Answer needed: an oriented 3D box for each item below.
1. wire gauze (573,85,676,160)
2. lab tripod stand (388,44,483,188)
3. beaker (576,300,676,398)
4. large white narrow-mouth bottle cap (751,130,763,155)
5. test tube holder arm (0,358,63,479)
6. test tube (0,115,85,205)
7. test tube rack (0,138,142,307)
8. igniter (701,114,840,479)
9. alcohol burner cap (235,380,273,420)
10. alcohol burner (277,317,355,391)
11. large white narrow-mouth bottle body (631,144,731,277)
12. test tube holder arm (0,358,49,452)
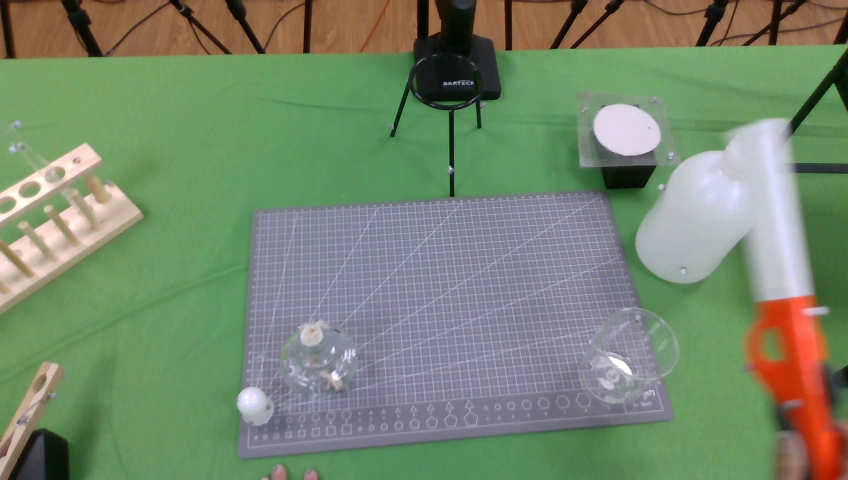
[{"bbox_3d":[0.253,-0.150,0.775,0.121,0.011,0.124,3,59,-1],"label":"wire gauze"},{"bbox_3d":[0.023,-0.159,0.754,0.148,0.132,0.147,2,61,-3],"label":"lab tripod stand"},{"bbox_3d":[0.198,0.116,0.619,0.084,0.101,0.073,2,59,-1],"label":"beaker"},{"bbox_3d":[0.307,-0.089,0.591,0.038,0.024,0.037,1,59,-2],"label":"large white narrow-mouth bottle cap"},{"bbox_3d":[-0.372,0.192,0.543,0.013,0.015,0.177,4,59,10],"label":"test tube holder arm"},{"bbox_3d":[-0.412,-0.081,0.657,0.017,0.151,0.017,-1,62,2],"label":"test tube"},{"bbox_3d":[-0.449,-0.003,0.667,0.066,0.086,0.242,41,66,19],"label":"test tube rack"},{"bbox_3d":[0.247,0.048,0.432,0.025,0.057,0.276,-9,86,-36],"label":"igniter"},{"bbox_3d":[-0.172,0.159,0.609,0.034,0.048,0.033,1,60,-1],"label":"alcohol burner cap"},{"bbox_3d":[-0.108,0.106,0.601,0.078,0.120,0.077,2,58,-3],"label":"alcohol burner"},{"bbox_3d":[0.304,-0.044,0.665,0.102,0.196,0.101,1,59,-1],"label":"large white narrow-mouth bottle body"},{"bbox_3d":[-0.371,0.153,0.566,0.010,0.015,0.087,4,59,10],"label":"test tube holder arm"}]
